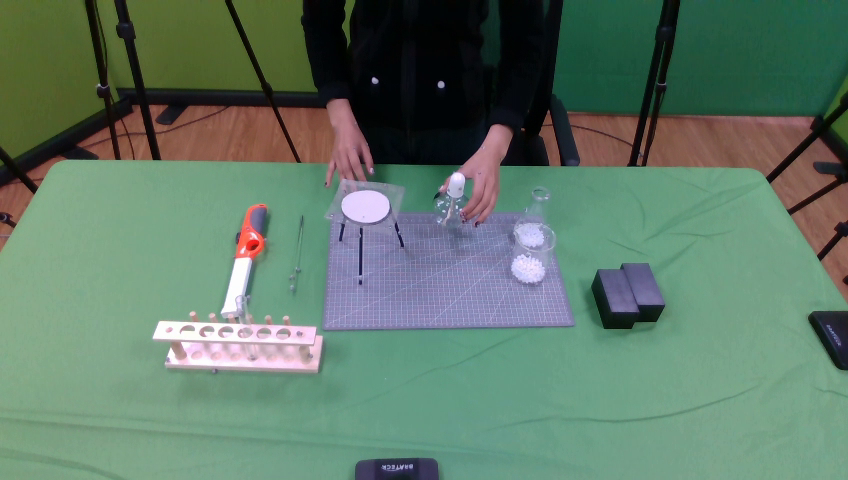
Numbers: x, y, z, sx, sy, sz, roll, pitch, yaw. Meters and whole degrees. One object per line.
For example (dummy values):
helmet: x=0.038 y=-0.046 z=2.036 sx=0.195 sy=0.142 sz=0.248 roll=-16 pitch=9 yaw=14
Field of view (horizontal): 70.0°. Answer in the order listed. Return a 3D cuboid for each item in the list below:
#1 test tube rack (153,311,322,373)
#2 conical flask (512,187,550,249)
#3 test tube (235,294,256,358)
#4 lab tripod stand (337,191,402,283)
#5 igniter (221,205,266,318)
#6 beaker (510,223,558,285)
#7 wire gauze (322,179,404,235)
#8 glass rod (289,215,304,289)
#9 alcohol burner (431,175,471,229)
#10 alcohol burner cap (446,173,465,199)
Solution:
test tube rack: x=-0.293 y=0.160 z=0.977 sx=0.242 sy=0.085 sz=0.066 roll=3 pitch=46 yaw=-2
conical flask: x=0.217 y=-0.048 z=1.190 sx=0.075 sy=0.122 sz=0.075 roll=2 pitch=46 yaw=-2
test tube: x=-0.274 y=0.136 z=0.933 sx=0.017 sy=0.151 sz=0.017 roll=4 pitch=45 yaw=-4
lab tripod stand: x=-0.106 y=-0.016 z=1.125 sx=0.148 sy=0.132 sz=0.147 roll=3 pitch=44 yaw=-2
igniter: x=-0.337 y=0.031 z=1.140 sx=0.057 sy=0.025 sz=0.274 roll=-5 pitch=46 yaw=3
beaker: x=0.199 y=0.027 z=1.132 sx=0.083 sy=0.101 sz=0.074 roll=27 pitch=50 yaw=21
wire gauze: x=-0.106 y=-0.064 z=1.078 sx=0.125 sy=0.011 sz=0.121 roll=11 pitch=45 yaw=5
glass rod: x=-0.246 y=0.019 z=1.171 sx=0.008 sy=0.008 sz=0.198 roll=1 pitch=43 yaw=-3
alcohol burner: x=0.055 y=-0.078 z=1.154 sx=0.078 sy=0.119 sz=0.077 roll=7 pitch=42 yaw=-7
alcohol burner cap: x=0.059 y=-0.103 z=1.128 sx=0.034 sy=0.048 sz=0.033 roll=4 pitch=51 yaw=-5
